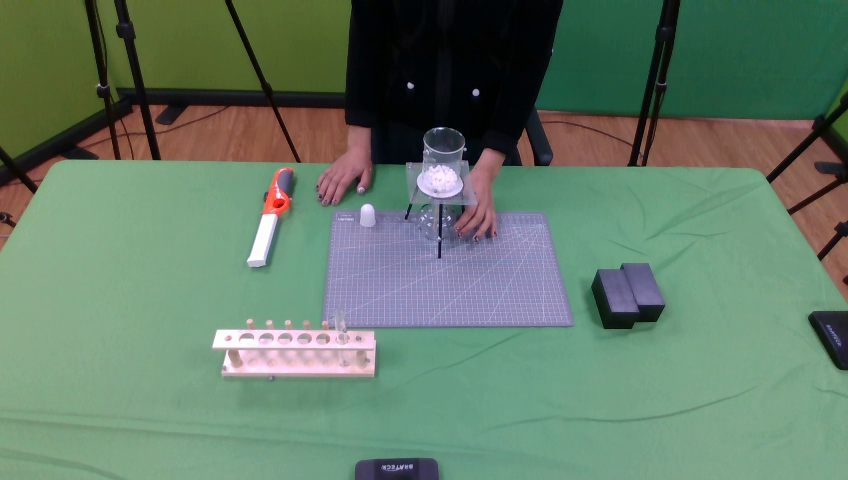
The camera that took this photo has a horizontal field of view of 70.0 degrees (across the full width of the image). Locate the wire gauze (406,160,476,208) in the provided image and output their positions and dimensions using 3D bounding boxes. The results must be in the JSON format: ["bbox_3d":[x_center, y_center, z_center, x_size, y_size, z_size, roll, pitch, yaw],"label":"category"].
[{"bbox_3d":[0.030,-0.107,1.130,0.125,0.011,0.120,1,48,-7],"label":"wire gauze"}]

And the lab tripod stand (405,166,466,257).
[{"bbox_3d":[0.030,-0.063,1.180,0.148,0.132,0.147,3,47,-3],"label":"lab tripod stand"}]

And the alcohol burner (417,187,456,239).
[{"bbox_3d":[0.025,-0.059,1.189,0.078,0.120,0.077,1,48,-1],"label":"alcohol burner"}]

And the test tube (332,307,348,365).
[{"bbox_3d":[-0.128,0.151,0.931,0.017,0.151,0.017,1,50,-2],"label":"test tube"}]

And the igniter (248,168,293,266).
[{"bbox_3d":[-0.307,-0.055,1.226,0.057,0.025,0.275,-3,46,6],"label":"igniter"}]

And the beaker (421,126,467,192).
[{"bbox_3d":[0.031,-0.145,1.100,0.074,0.101,0.083,-16,50,-20],"label":"beaker"}]

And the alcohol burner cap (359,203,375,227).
[{"bbox_3d":[-0.115,-0.053,1.224,0.034,0.048,0.033,3,48,-3],"label":"alcohol burner cap"}]

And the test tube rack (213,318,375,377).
[{"bbox_3d":[-0.202,0.169,0.977,0.242,0.085,0.066,1,46,-3],"label":"test tube rack"}]
